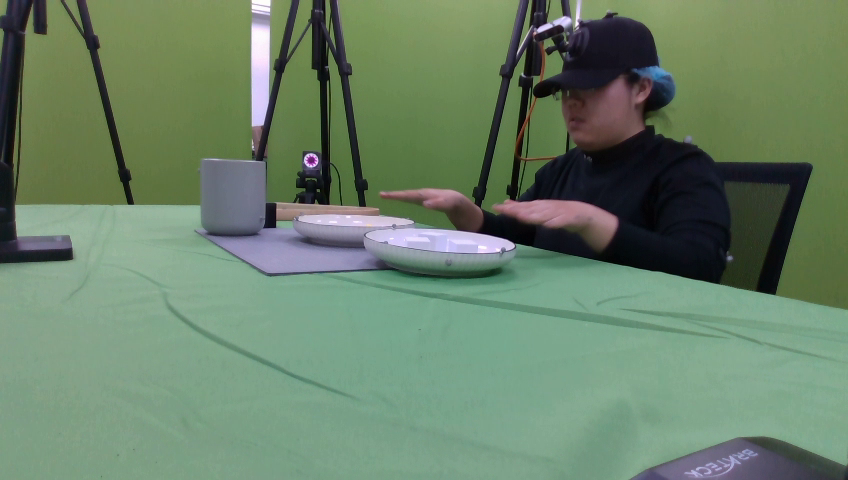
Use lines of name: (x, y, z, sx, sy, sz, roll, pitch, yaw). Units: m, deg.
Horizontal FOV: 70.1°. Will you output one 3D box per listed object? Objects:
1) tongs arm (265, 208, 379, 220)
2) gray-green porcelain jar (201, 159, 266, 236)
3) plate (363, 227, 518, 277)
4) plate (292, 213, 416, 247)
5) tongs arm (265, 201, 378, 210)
tongs arm: (-0.277, -0.057, 1.341, 0.389, 0.028, 0.028, -1, 6, -25)
gray-green porcelain jar: (-0.326, -0.074, 1.036, 0.106, 0.126, 0.106, 3, 8, 0)
plate: (0.022, 0.016, 0.817, 0.209, 0.038, 0.209, 3, 9, 0)
plate: (-0.118, -0.017, 1.024, 0.208, 0.039, 0.207, 2, 7, 0)
tongs arm: (-0.300, -0.072, 1.417, 0.386, 0.026, 0.050, 2, 8, -13)
